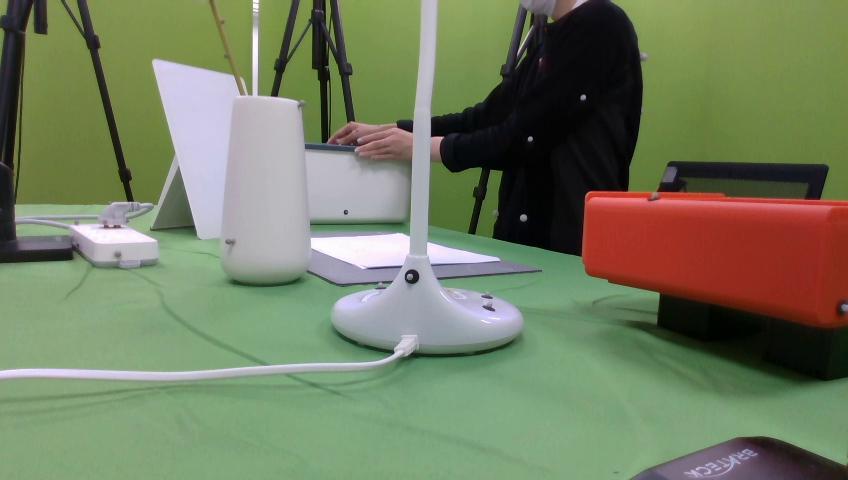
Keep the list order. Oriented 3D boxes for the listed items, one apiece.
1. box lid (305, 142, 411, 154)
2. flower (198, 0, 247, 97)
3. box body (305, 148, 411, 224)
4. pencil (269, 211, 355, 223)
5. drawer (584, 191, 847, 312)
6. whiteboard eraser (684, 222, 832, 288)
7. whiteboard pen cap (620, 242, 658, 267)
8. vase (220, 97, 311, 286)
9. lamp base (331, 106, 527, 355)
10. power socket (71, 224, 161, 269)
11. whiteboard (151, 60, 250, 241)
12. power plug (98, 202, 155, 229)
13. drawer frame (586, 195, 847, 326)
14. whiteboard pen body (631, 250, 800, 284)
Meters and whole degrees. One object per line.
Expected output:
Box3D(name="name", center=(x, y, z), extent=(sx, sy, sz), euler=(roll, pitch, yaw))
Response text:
Box3D(name="box lid", center=(-0.231, -0.210, 1.361), extent=(0.373, 0.015, 0.262), euler=(-1, 10, -28))
Box3D(name="flower", center=(-0.187, -0.133, 0.648), extent=(0.038, 0.362, 0.044), euler=(0, 22, 43))
Box3D(name="box body", center=(-0.233, -0.127, 1.373), extent=(0.366, 0.160, 0.253), euler=(-2, 8, -29))
Box3D(name="pencil", center=(-0.245, -0.050, 1.337), extent=(0.195, 0.012, 0.012), euler=(5, 5, -26))
Box3D(name="drawer", center=(0.280, 0.001, 0.513), extent=(0.195, 0.073, 0.211), euler=(0, 8, -28))
Box3D(name="whiteboard eraser", center=(0.304, 0.013, 0.558), extent=(0.056, 0.042, 0.112), euler=(-10, 20, -30))
Box3D(name="whiteboard pen cap", center=(0.199, 0.013, 0.557), extent=(0.018, 0.018, 0.033), euler=(-4, 16, -39))
Box3D(name="vase", center=(-0.172, -0.052, 0.662), extent=(0.098, 0.200, 0.098), euler=(3, 8, 0))
Box3D(name="lamp base", center=(0.006, -0.012, 0.478), extent=(0.161, 0.180, 0.179), euler=(2, 10, 2))
Box3D(name="power socket", center=(-0.408, 0.004, 0.793), extent=(0.072, 0.032, 0.225), euler=(-2, 8, -38))
Box3D(name="whiteboard", center=(-0.408, -0.140, 1.093), extent=(0.143, 0.305, 0.218), euler=(-15, 0, 25))
Box3D(name="power plug", center=(-0.416, -0.027, 0.848), extent=(0.073, 0.052, 0.035), euler=(0, 8, -28))
Box3D(name="drawer frame", center=(0.284, 0.004, 0.508), extent=(0.203, 0.082, 0.212), euler=(-1, 6, -28))
Box3D(name="whiteboard pen body", center=(0.239, 0.020, 0.512), extent=(0.017, 0.017, 0.140), euler=(-4, 8, -41))
